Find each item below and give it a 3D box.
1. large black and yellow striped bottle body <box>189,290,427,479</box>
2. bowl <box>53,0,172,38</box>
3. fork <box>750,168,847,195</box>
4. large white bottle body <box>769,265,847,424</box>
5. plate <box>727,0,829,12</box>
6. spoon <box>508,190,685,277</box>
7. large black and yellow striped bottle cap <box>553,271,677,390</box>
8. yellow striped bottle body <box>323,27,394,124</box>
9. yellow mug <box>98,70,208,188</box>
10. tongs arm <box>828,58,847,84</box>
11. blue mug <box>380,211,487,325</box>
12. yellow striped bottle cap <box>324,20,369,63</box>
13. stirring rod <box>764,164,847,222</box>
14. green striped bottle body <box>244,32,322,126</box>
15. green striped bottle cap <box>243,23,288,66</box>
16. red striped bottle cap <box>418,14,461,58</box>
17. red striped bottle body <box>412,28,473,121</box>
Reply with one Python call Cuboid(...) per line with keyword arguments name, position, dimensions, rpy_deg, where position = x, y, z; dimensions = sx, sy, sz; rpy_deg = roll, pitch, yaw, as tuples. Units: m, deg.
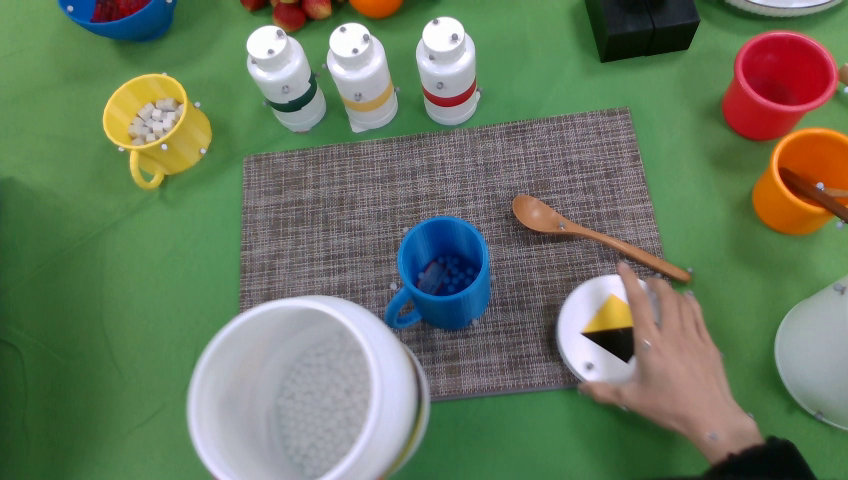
Cuboid(name="large black and yellow striped bottle body", position=(-0.070, 0.108, 0.419), dimensions=(0.131, 0.185, 0.130), rpy_deg=(-1, 74, 5))
Cuboid(name="bowl", position=(-0.380, -0.315, 0.774), dimensions=(0.151, 0.077, 0.150), rpy_deg=(-2, 69, 5))
Cuboid(name="fork", position=(0.395, -0.042, 0.552), dimensions=(0.028, 0.019, 0.205), rpy_deg=(-34, 25, -15))
Cuboid(name="large white bottle body", position=(0.383, 0.076, 0.490), dimensions=(0.130, 0.186, 0.129), rpy_deg=(-2, 69, 6))
Cuboid(name="plate", position=(0.416, -0.354, 0.726), dimensions=(0.209, 0.038, 0.207), rpy_deg=(-2, 70, 5))
Cuboid(name="spoon", position=(0.177, -0.005, 0.626), dimensions=(0.193, 0.022, 0.041), rpy_deg=(23, 52, 13))
Cuboid(name="large black and yellow striped bottle cap", position=(0.183, 0.086, 0.583), dimensions=(0.115, 0.019, 0.114), rpy_deg=(-2, 69, 6))
Cuboid(name="yellow striped bottle body", position=(-0.073, -0.186, 0.671), dimensions=(0.063, 0.121, 0.062), rpy_deg=(-2, 68, 6))
Cuboid(name="yellow mug", position=(-0.316, -0.124, 0.702), dimensions=(0.100, 0.064, 0.130), rpy_deg=(3, 71, 7))
Cuboid(name="tongs arm", position=(0.592, -0.078, 0.606), dimensions=(0.051, 0.027, 0.382), rpy_deg=(-41, 71, -13))
Cuboid(name="blue mug", position=(0.006, 0.040, 0.582), dimensions=(0.116, 0.106, 0.082), rpy_deg=(-39, 70, -8))
Cuboid(name="yellow striped bottle cap", position=(-0.080, -0.204, 0.622), dimensions=(0.044, 0.019, 0.044), rpy_deg=(-1, 66, 2))
Cuboid(name="stirring rod", position=(0.366, -0.040, 0.562), dimensions=(0.014, 0.006, 0.174), rpy_deg=(-4, 26, 1))
Cuboid(name="green striped bottle body", position=(-0.160, -0.186, 0.680), dimensions=(0.063, 0.120, 0.062), rpy_deg=(-2, 69, 5))
Cuboid(name="green striped bottle cap", position=(-0.166, -0.204, 0.632), dimensions=(0.044, 0.020, 0.044), rpy_deg=(-2, 67, 6))
Cuboid(name="red striped bottle cap", position=(0.015, -0.207, 0.613), dimensions=(0.044, 0.018, 0.044), rpy_deg=(-1, 68, 2))
Cuboid(name="red striped bottle body", position=(0.021, -0.188, 0.662), dimensions=(0.063, 0.120, 0.062), rpy_deg=(-2, 68, 6))
